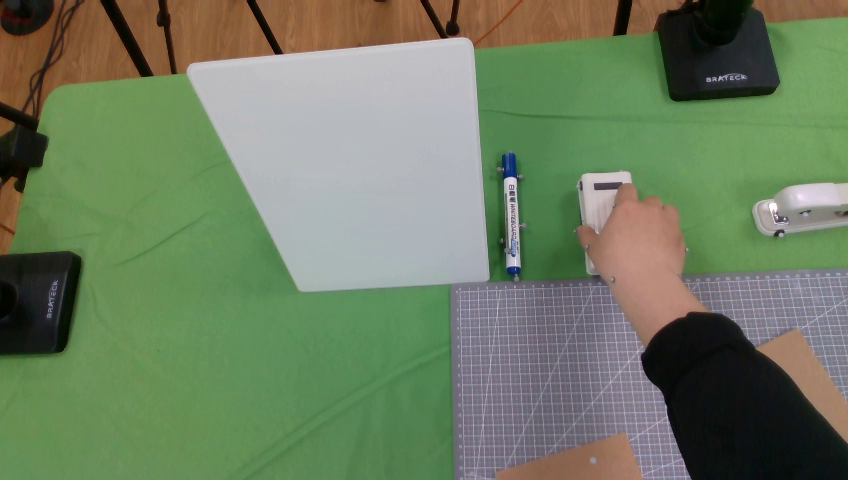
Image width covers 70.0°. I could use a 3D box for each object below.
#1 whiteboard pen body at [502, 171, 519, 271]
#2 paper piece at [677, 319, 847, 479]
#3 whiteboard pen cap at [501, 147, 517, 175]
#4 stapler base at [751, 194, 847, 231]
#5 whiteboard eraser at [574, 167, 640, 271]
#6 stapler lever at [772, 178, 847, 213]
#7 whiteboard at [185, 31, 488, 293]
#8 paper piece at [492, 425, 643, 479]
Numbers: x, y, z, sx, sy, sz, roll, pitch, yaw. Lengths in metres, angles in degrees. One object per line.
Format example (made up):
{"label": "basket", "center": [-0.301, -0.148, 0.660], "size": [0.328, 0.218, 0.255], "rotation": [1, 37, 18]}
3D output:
{"label": "whiteboard pen body", "center": [0.096, -0.034, 0.680], "size": [0.017, 0.017, 0.140], "rotation": [-1, 70, 7]}
{"label": "paper piece", "center": [0.339, 0.167, 0.584], "size": [0.136, 0.009, 0.137], "rotation": [-26, 72, 2]}
{"label": "whiteboard pen cap", "center": [0.098, -0.089, 0.698], "size": [0.018, 0.018, 0.033], "rotation": [-4, 69, 6]}
{"label": "stapler base", "center": [0.418, -0.039, 0.640], "size": [0.130, 0.024, 0.041], "rotation": [-8, 73, 2]}
{"label": "whiteboard eraser", "center": [0.195, -0.023, 0.651], "size": [0.055, 0.042, 0.112], "rotation": [-3, 70, 6]}
{"label": "stapler lever", "center": [0.417, -0.048, 0.618], "size": [0.118, 0.040, 0.026], "rotation": [-8, 72, 4]}
{"label": "whiteboard", "center": [-0.052, -0.096, 0.598], "size": [0.217, 0.308, 0.142], "rotation": [-3, 51, 7]}
{"label": "paper piece", "center": [0.149, 0.261, 0.574], "size": [0.135, 0.004, 0.134], "rotation": [-17, 70, 1]}
